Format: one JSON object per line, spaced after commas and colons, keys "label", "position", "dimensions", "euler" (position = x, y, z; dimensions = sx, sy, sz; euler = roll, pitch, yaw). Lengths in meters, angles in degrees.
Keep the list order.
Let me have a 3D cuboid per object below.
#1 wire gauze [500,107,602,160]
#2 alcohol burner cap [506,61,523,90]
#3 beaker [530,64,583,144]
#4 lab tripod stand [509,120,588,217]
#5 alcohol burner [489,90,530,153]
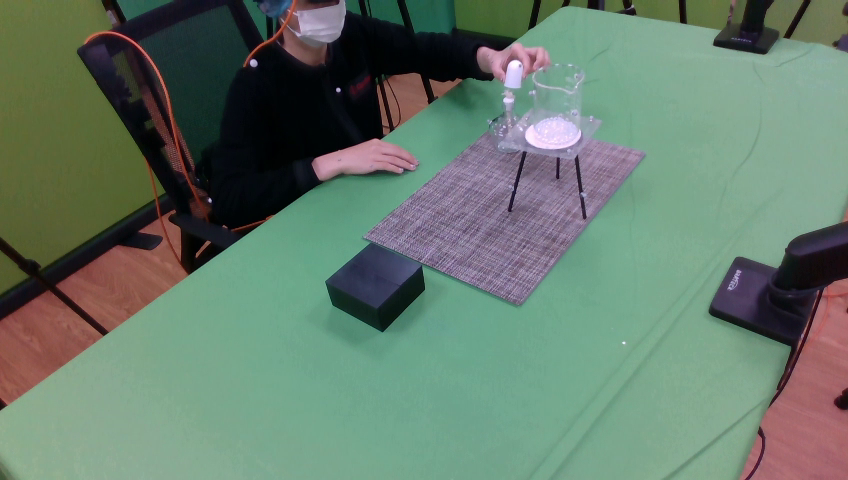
{"label": "wire gauze", "position": [0.199, -0.166, 0.945], "dimensions": [0.120, 0.011, 0.125], "euler": [16, 50, 28]}
{"label": "alcohol burner cap", "position": [0.164, -0.297, 1.087], "dimensions": [0.034, 0.048, 0.033], "euler": [1, 32, 0]}
{"label": "beaker", "position": [0.201, -0.201, 0.909], "dimensions": [0.074, 0.101, 0.083], "euler": [-19, 43, -10]}
{"label": "lab tripod stand", "position": [0.208, -0.114, 0.983], "dimensions": [0.148, 0.132, 0.147], "euler": [-5, 42, 5]}
{"label": "alcohol burner", "position": [0.160, -0.226, 1.136], "dimensions": [0.078, 0.119, 0.077], "euler": [-6, 41, 5]}
